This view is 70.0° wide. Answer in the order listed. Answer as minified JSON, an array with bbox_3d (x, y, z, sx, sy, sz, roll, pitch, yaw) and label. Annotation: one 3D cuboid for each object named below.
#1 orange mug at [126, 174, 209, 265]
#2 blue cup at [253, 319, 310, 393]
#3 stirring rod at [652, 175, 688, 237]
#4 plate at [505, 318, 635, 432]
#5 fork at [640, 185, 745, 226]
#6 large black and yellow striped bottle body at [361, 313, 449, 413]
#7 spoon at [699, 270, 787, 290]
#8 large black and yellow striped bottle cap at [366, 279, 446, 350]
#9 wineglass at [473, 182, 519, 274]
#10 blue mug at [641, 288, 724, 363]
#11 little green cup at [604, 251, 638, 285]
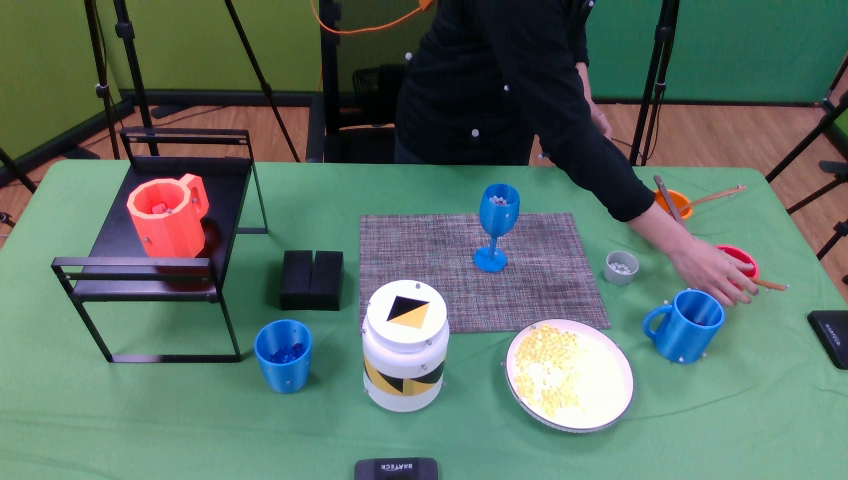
[{"bbox_3d":[-0.371,-0.039,0.902,0.083,0.101,0.126,18,51,14],"label":"orange mug"},{"bbox_3d":[-0.217,0.187,0.943,0.093,0.101,0.092,3,45,-3],"label":"blue cup"},{"bbox_3d":[0.491,-0.071,1.212,0.014,0.006,0.175,1,47,-7],"label":"stirring rod"},{"bbox_3d":[0.235,0.221,0.991,0.209,0.038,0.208,2,45,-2],"label":"plate"},{"bbox_3d":[0.534,-0.069,1.215,0.207,0.019,0.028,-26,27,33],"label":"fork"},{"bbox_3d":[-0.031,0.163,0.924,0.131,0.185,0.130,2,46,-2],"label":"large black and yellow striped bottle body"},{"bbox_3d":[0.567,0.070,1.087,0.042,0.021,0.193,-12,4,-13],"label":"spoon"},{"bbox_3d":[-0.025,0.104,0.864,0.115,0.019,0.114,3,48,-3],"label":"large black and yellow striped bottle cap"},{"bbox_3d":[0.131,-0.022,1.117,0.074,0.173,0.073,2,46,-2],"label":"wineglass"},{"bbox_3d":[0.432,0.144,1.033,0.116,0.106,0.082,9,46,5],"label":"blue mug"},{"bbox_3d":[0.375,0.055,1.162,0.061,0.039,0.061,2,45,-2],"label":"little green cup"}]
